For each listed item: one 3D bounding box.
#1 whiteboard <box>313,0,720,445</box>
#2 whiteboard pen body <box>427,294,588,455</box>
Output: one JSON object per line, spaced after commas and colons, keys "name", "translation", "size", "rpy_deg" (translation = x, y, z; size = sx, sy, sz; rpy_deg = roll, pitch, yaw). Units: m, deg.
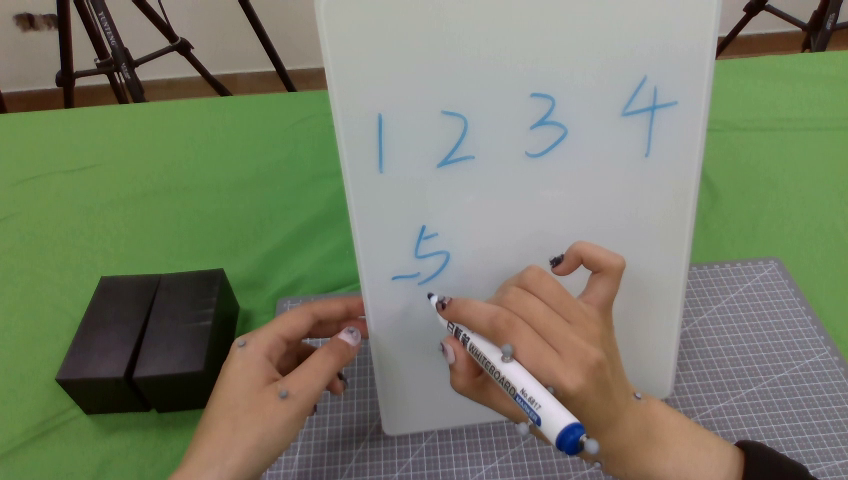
{"name": "whiteboard", "translation": [0.059, -0.031, 0.436], "size": [0.217, 0.308, 0.142], "rpy_deg": [-6, 26, -2]}
{"name": "whiteboard pen body", "translation": [0.035, 0.062, 0.318], "size": [0.017, 0.017, 0.139], "rpy_deg": [-23, 32, -18]}
